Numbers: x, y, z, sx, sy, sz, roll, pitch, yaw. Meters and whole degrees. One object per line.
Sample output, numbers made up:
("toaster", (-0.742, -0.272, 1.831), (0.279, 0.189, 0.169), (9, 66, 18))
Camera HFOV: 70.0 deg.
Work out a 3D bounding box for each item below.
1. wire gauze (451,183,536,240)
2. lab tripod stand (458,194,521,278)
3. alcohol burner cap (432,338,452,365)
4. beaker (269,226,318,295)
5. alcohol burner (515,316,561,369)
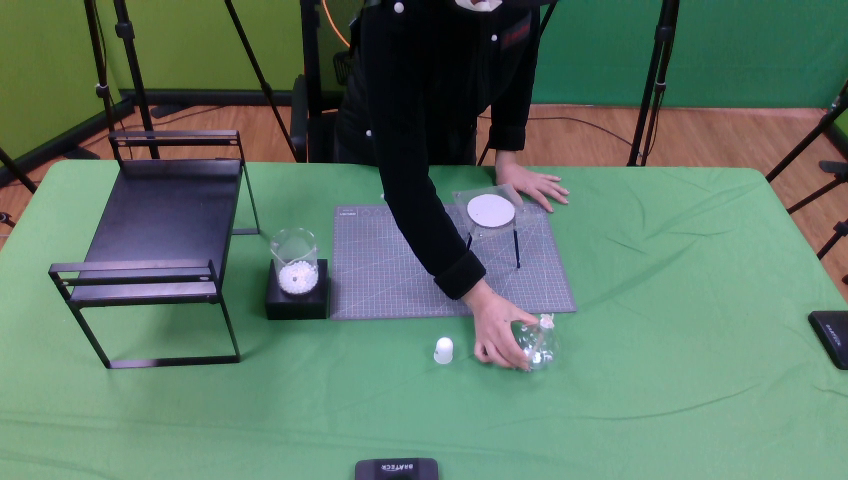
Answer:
("wire gauze", (0.123, -0.057, 1.087), (0.121, 0.011, 0.124), (-12, 47, -14))
("lab tripod stand", (0.116, -0.011, 1.135), (0.148, 0.132, 0.147), (1, 45, -1))
("alcohol burner cap", (0.032, 0.182, 1.011), (0.034, 0.048, 0.033), (4, 45, -3))
("beaker", (-0.218, 0.040, 1.019), (0.074, 0.101, 0.083), (6, 47, 2))
("alcohol burner", (0.191, 0.160, 0.993), (0.078, 0.119, 0.077), (5, 48, -5))
